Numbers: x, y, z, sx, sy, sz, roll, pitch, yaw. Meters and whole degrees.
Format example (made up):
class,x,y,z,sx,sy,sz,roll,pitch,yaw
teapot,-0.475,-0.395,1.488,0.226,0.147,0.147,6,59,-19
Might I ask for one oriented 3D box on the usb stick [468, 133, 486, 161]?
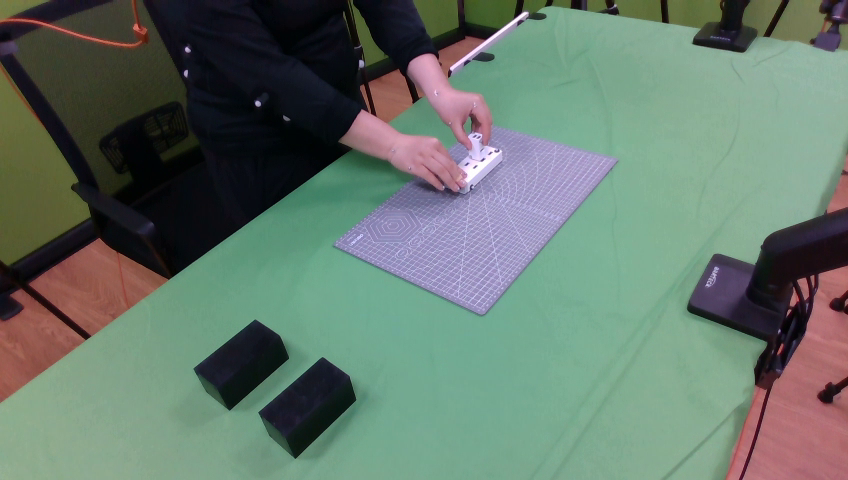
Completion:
class,x,y,z,sx,sy,sz,roll,pitch,yaw
usb stick,0.096,-0.163,1.096,0.027,0.059,0.021,22,49,28

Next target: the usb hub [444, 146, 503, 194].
class,x,y,z,sx,sy,sz,roll,pitch,yaw
usb hub,0.091,-0.129,1.103,0.049,0.025,0.125,23,50,30
